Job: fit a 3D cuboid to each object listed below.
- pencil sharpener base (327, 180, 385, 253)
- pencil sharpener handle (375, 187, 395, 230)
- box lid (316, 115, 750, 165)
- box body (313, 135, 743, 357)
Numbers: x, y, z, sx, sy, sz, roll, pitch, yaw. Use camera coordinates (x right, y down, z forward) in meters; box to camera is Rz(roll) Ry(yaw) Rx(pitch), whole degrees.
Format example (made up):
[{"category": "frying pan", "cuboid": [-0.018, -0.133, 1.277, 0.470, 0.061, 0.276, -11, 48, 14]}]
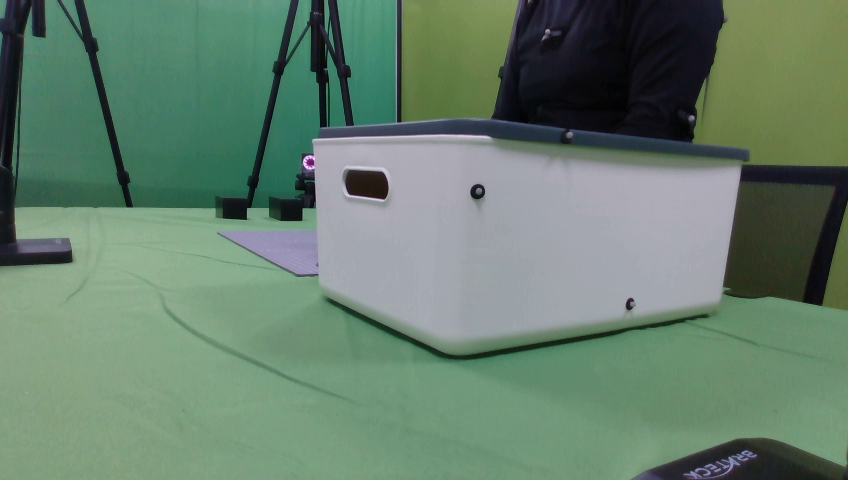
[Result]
[{"category": "pencil sharpener base", "cuboid": [-0.103, -0.037, 0.932, 0.077, 0.107, 0.061, -1, 7, -30]}, {"category": "pencil sharpener handle", "cuboid": [-0.059, -0.050, 0.958, 0.031, 0.067, 0.036, -1, 13, -30]}, {"category": "box lid", "cuboid": [0.106, -0.089, 0.593, 0.374, 0.015, 0.262, -1, 6, -35]}, {"category": "box body", "cuboid": [0.099, -0.011, 0.596, 0.366, 0.160, 0.253, -2, 8, -34]}]
